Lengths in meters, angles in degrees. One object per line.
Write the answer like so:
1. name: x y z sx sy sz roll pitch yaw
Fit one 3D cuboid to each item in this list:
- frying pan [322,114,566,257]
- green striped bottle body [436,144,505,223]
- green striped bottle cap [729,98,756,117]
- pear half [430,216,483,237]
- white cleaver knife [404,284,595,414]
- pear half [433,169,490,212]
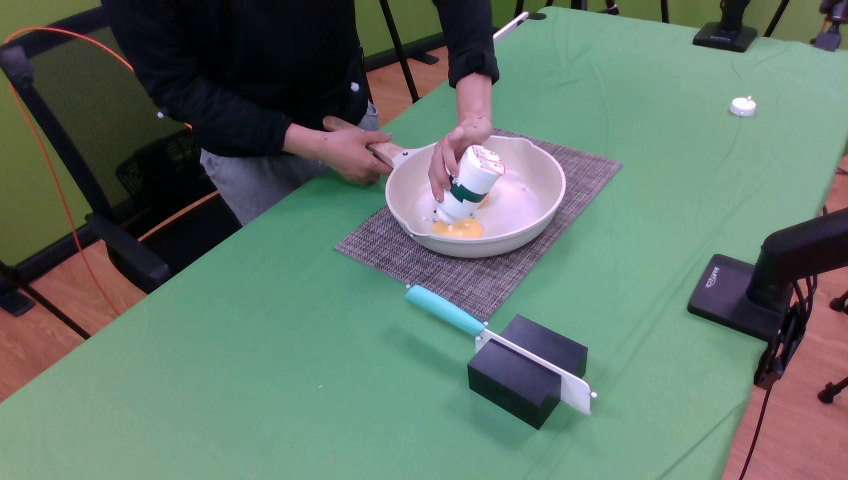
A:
1. frying pan: 0.004 -0.121 1.039 0.484 0.103 0.308 31 52 25
2. green striped bottle body: 0.062 -0.078 0.888 0.063 0.119 0.063 22 39 -18
3. green striped bottle cap: 0.623 -0.259 1.182 0.044 0.020 0.044 -3 41 3
4. pear half: 0.051 -0.023 0.973 0.087 0.031 0.070 16 43 17
5. white cleaver knife: 0.084 0.135 0.764 0.284 0.066 0.021 28 47 31
6. pear half: 0.058 -0.083 1.024 0.110 0.056 0.075 -34 42 -24
